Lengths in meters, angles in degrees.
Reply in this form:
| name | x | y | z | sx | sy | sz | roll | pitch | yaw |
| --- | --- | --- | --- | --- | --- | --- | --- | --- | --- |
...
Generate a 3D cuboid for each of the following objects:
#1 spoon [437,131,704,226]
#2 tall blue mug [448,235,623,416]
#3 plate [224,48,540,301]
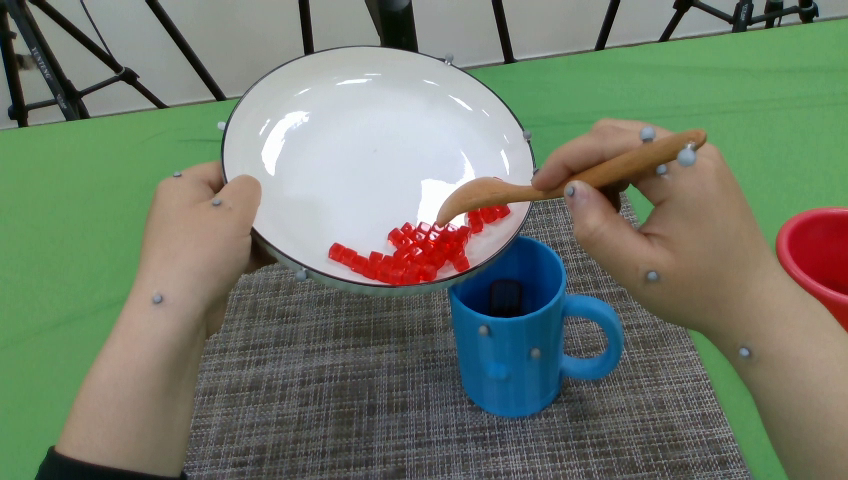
| name | x | y | z | sx | sy | sz | roll | pitch | yaw |
| --- | --- | --- | --- | --- | --- | --- | --- | --- | --- |
| spoon | 0.059 | -0.028 | 0.306 | 0.041 | 0.022 | 0.193 | -39 | 15 | -25 |
| tall blue mug | 0.074 | 0.058 | 0.420 | 0.107 | 0.109 | 0.077 | -12 | 42 | -2 |
| plate | -0.026 | -0.047 | 0.414 | 0.208 | 0.039 | 0.205 | 5 | 57 | -7 |
